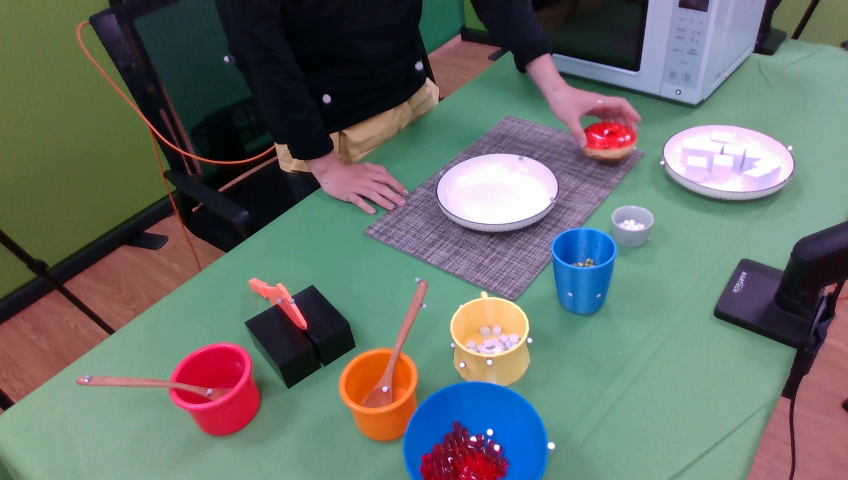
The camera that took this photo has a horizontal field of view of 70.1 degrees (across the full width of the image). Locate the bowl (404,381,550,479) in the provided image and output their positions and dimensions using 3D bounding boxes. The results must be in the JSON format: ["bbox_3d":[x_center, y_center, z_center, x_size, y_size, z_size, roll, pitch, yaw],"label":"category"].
[{"bbox_3d":[0.058,0.235,0.645,0.151,0.077,0.150,-4,39,4],"label":"bowl"}]

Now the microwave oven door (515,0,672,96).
[{"bbox_3d":[0.344,-0.455,1.259,0.353,0.245,0.039,26,51,33],"label":"microwave oven door"}]

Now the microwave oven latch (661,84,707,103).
[{"bbox_3d":[0.517,-0.296,1.204,0.078,0.029,0.030,27,52,35],"label":"microwave oven latch"}]

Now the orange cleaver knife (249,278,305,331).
[{"bbox_3d":[-0.210,0.089,0.856,0.012,0.077,0.210,-28,15,-25],"label":"orange cleaver knife"}]

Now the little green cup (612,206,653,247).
[{"bbox_3d":[0.321,-0.019,0.936,0.061,0.039,0.061,-4,41,4],"label":"little green cup"}]

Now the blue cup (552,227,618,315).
[{"bbox_3d":[0.218,0.047,0.825,0.092,0.100,0.092,-6,39,5],"label":"blue cup"}]

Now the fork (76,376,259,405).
[{"bbox_3d":[-0.295,0.176,0.716,0.209,0.018,0.028,19,27,-36],"label":"fork"}]

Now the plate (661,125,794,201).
[{"bbox_3d":[0.513,-0.128,1.035,0.207,0.039,0.206,-4,40,4],"label":"plate"}]

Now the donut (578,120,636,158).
[{"bbox_3d":[0.323,-0.180,1.070,0.099,0.048,0.098,-6,37,5],"label":"donut"}]

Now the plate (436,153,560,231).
[{"bbox_3d":[0.125,-0.078,1.029,0.209,0.038,0.208,-4,40,4],"label":"plate"}]

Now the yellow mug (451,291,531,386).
[{"bbox_3d":[0.085,0.120,0.786,0.100,0.064,0.130,-7,39,1],"label":"yellow mug"}]

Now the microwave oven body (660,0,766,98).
[{"bbox_3d":[0.472,-0.513,1.317,0.438,0.261,0.327,26,51,34],"label":"microwave oven body"}]

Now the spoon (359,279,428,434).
[{"bbox_3d":[-0.032,0.138,0.719,0.041,0.193,0.022,22,4,29],"label":"spoon"}]
